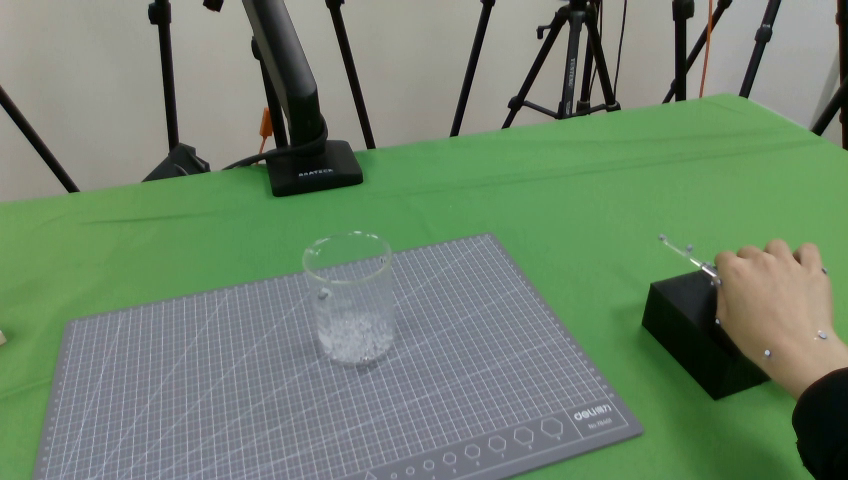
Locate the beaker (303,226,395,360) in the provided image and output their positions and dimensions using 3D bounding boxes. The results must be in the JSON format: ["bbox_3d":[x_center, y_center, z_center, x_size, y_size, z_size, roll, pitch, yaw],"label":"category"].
[{"bbox_3d":[-0.065,0.048,0.532,0.083,0.101,0.074,19,40,27],"label":"beaker"}]

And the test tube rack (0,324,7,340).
[{"bbox_3d":[-0.491,0.101,0.484,0.066,0.086,0.242,23,42,30],"label":"test tube rack"}]

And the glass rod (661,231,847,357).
[{"bbox_3d":[0.283,0.042,0.529,0.008,0.008,0.197,-18,38,-22],"label":"glass rod"}]
